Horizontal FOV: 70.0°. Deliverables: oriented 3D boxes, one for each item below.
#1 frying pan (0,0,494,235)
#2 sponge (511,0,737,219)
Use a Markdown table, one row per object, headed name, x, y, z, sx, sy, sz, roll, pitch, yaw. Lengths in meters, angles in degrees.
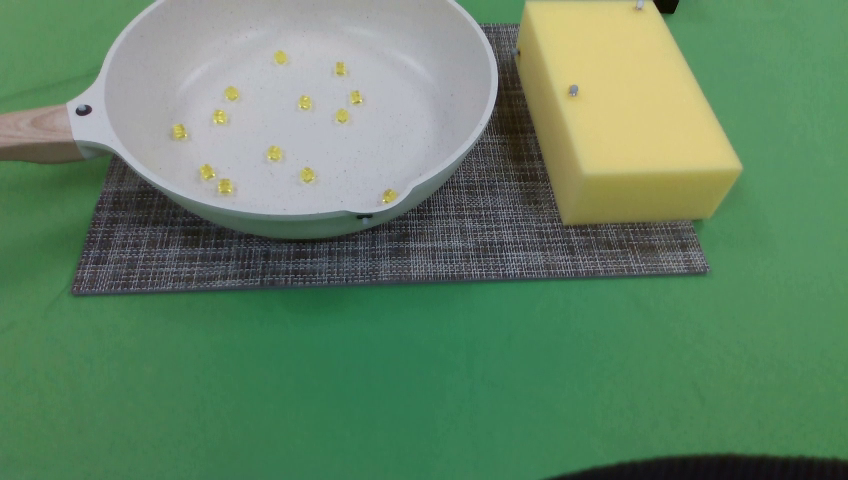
| name | x | y | z | sx | sy | sz | roll | pitch | yaw |
| --- | --- | --- | --- | --- | --- | --- | --- | --- | --- |
| frying pan | -0.187 | -0.095 | 0.436 | 0.489 | 0.103 | 0.303 | -14 | 56 | -23 |
| sponge | 0.152 | -0.117 | 0.501 | 0.118 | 0.061 | 0.204 | -4 | 55 | -6 |
